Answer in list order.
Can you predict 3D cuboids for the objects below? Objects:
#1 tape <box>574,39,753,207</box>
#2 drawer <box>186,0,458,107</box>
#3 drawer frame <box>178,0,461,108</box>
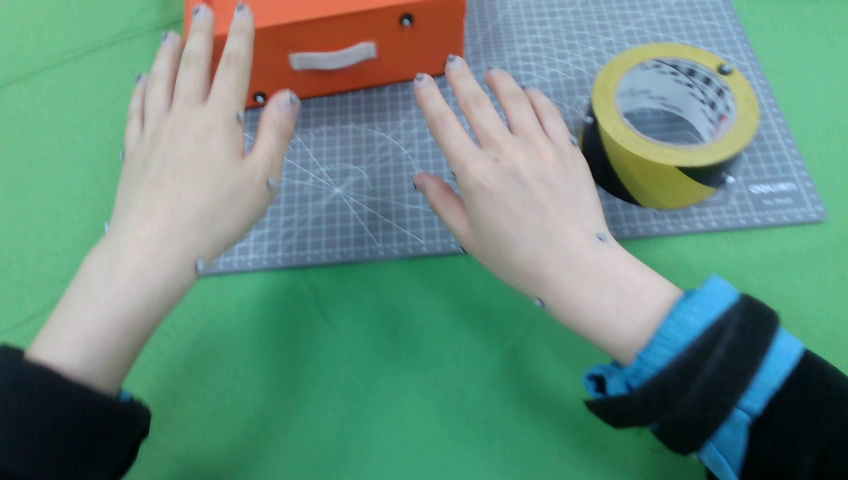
[{"bbox_3d":[0.167,-0.083,0.430,0.117,0.053,0.116,-1,62,2],"label":"tape"},{"bbox_3d":[-0.089,-0.222,0.499,0.194,0.074,0.209,-12,61,-4],"label":"drawer"},{"bbox_3d":[-0.091,-0.224,0.500,0.202,0.083,0.211,-12,61,-4],"label":"drawer frame"}]
